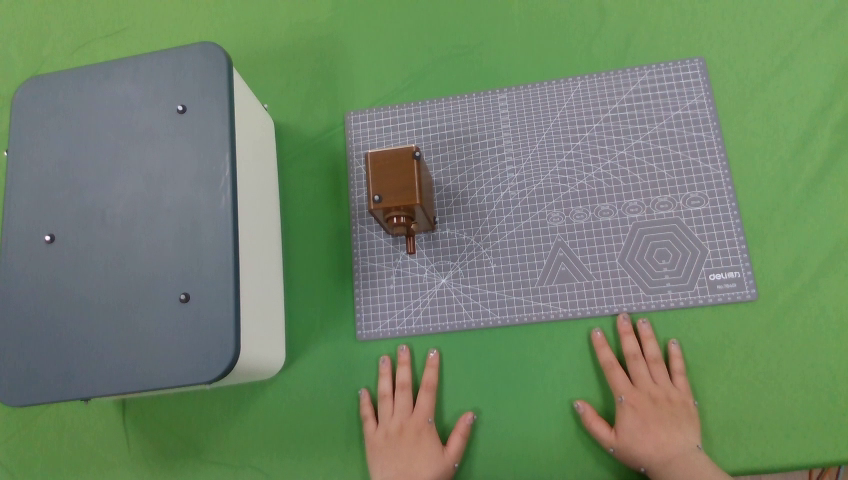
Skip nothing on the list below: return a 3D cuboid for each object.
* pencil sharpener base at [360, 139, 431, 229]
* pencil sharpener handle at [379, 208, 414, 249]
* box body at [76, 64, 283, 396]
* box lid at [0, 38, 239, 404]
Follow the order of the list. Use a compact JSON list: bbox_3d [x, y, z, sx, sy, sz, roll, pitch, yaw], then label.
[{"bbox_3d":[-0.030,-0.058,0.692,0.061,0.107,0.076,-7,75,7],"label":"pencil sharpener base"},{"bbox_3d":[-0.026,-0.012,0.667,0.036,0.068,0.030,-9,75,15],"label":"pencil sharpener handle"},{"bbox_3d":[-0.311,-0.011,0.699,0.254,0.161,0.362,-9,75,6],"label":"box body"},{"bbox_3d":[-0.322,-0.032,0.629,0.263,0.015,0.369,-9,75,6],"label":"box lid"}]
